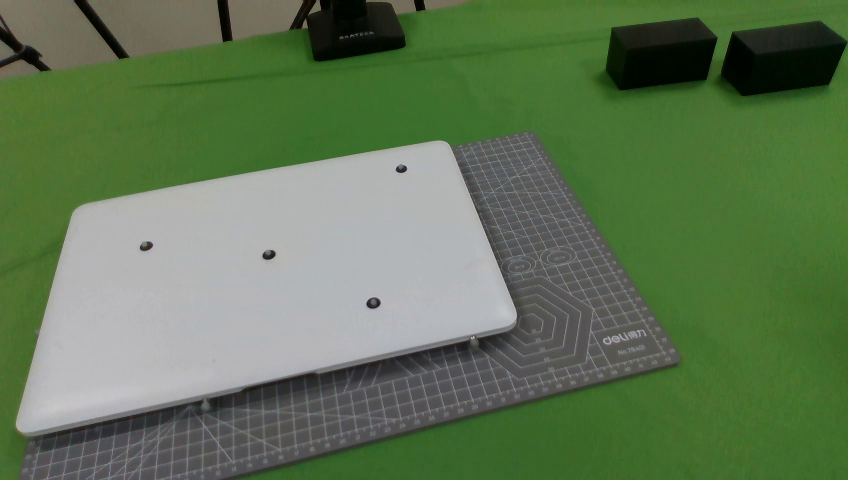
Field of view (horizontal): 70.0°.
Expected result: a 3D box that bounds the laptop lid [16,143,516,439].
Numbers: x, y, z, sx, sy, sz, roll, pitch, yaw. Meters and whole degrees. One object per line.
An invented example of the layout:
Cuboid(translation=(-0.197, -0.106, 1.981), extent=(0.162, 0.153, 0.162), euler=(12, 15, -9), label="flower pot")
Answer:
Cuboid(translation=(-0.125, 0.018, 0.495), extent=(0.357, 0.013, 0.239), euler=(-10, 47, -5), label="laptop lid")

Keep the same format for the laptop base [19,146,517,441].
Cuboid(translation=(-0.125, 0.025, 0.505), extent=(0.355, 0.023, 0.233), euler=(-11, 48, -6), label="laptop base")
